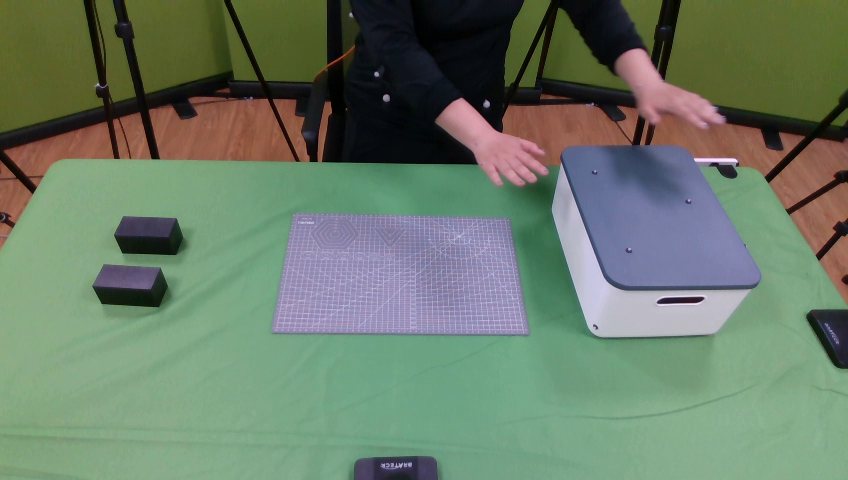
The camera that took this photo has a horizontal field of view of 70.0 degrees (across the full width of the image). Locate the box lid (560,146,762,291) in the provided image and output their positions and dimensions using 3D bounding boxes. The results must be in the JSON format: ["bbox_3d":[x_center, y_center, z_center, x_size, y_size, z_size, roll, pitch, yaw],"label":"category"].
[{"bbox_3d":[0.404,-0.052,1.076,0.263,0.015,0.369,-1,45,-5],"label":"box lid"}]

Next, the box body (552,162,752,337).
[{"bbox_3d":[0.401,-0.001,1.131,0.254,0.161,0.361,-1,46,-5],"label":"box body"}]
